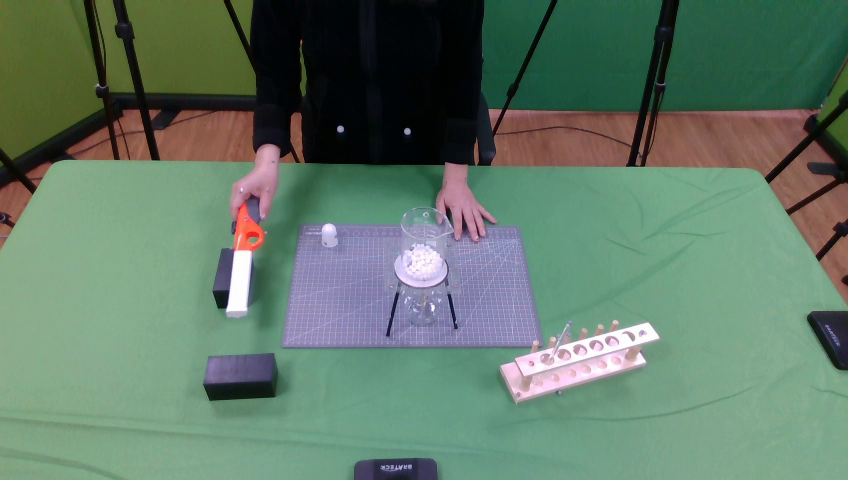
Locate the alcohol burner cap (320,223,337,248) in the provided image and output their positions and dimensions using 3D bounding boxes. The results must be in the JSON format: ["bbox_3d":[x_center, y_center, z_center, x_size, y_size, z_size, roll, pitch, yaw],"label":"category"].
[{"bbox_3d":[-0.187,-0.011,1.176,0.034,0.048,0.033,2,46,-2],"label":"alcohol burner cap"}]

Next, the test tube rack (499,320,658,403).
[{"bbox_3d":[0.252,0.187,0.994,0.243,0.085,0.066,-12,48,-15],"label":"test tube rack"}]

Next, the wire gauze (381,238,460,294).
[{"bbox_3d":[-0.007,0.042,0.985,0.125,0.011,0.120,-1,43,-2],"label":"wire gauze"}]

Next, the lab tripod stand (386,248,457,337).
[{"bbox_3d":[-0.010,0.087,1.032,0.148,0.132,0.147,1,45,-1],"label":"lab tripod stand"}]

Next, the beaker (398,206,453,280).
[{"bbox_3d":[0.000,0.008,0.950,0.084,0.101,0.073,10,45,6],"label":"beaker"}]

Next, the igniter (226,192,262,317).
[{"bbox_3d":[-0.316,0.015,1.061,0.057,0.025,0.274,1,48,-10],"label":"igniter"}]

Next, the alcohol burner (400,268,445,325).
[{"bbox_3d":[-0.003,0.092,1.042,0.078,0.120,0.077,1,46,-1],"label":"alcohol burner"}]

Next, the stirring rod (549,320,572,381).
[{"bbox_3d":[0.201,0.168,0.901,0.006,0.177,0.014,-16,54,-10],"label":"stirring rod"}]
